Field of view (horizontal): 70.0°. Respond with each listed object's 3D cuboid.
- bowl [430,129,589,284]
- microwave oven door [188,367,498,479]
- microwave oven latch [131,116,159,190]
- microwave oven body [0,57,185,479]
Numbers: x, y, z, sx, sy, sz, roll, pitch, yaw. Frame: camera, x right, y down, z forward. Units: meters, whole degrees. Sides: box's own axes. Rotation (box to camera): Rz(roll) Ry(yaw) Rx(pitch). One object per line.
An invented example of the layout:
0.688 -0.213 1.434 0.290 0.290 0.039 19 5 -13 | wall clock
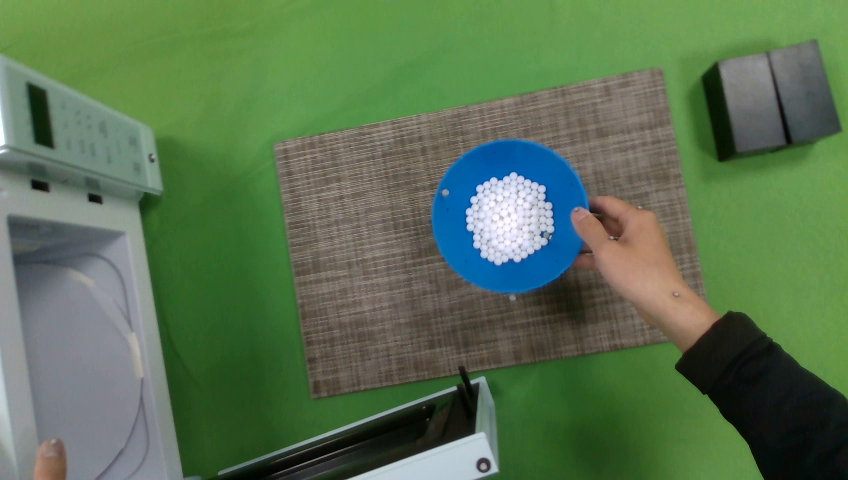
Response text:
0.086 -0.028 0.610 0.151 0.077 0.151 -1 84 8 | bowl
-0.103 0.213 0.556 0.356 0.244 0.039 -22 85 4 | microwave oven door
-0.328 -0.099 0.692 0.030 0.029 0.079 -13 87 4 | microwave oven latch
-0.446 0.099 0.597 0.326 0.260 0.441 -12 87 4 | microwave oven body
